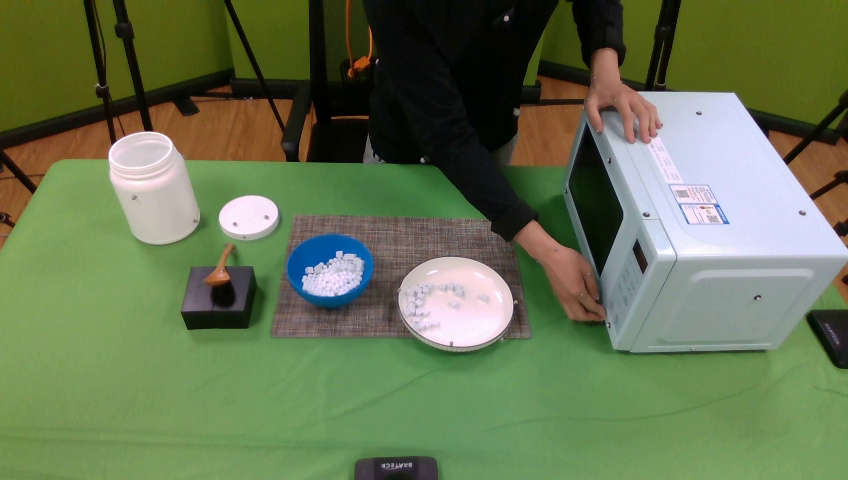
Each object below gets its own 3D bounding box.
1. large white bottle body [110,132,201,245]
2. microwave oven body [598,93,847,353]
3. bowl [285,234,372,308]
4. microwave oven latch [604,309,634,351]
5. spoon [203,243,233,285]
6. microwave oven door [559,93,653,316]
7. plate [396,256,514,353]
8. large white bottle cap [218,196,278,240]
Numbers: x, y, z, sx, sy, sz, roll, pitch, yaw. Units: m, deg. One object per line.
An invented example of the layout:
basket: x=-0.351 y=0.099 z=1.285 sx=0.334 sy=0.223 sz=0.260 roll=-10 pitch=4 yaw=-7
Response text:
large white bottle body: x=-0.505 y=-0.097 z=1.141 sx=0.131 sy=0.185 sz=0.130 roll=2 pitch=46 yaw=-2
microwave oven body: x=0.476 y=-0.041 z=1.110 sx=0.326 sy=0.261 sz=0.438 roll=-1 pitch=45 yaw=-4
bowl: x=-0.167 y=0.068 z=1.077 sx=0.151 sy=0.077 sz=0.150 roll=3 pitch=46 yaw=-2
microwave oven latch: x=0.334 y=0.153 z=1.044 sx=0.030 sy=0.029 sz=0.078 roll=2 pitch=45 yaw=-1
spoon: x=-0.360 y=0.039 z=1.087 sx=0.041 sy=0.022 sz=0.192 roll=-5 pitch=24 yaw=-7
microwave oven door: x=0.327 y=-0.074 z=1.123 sx=0.039 sy=0.245 sz=0.353 roll=-1 pitch=46 yaw=-5
plate: x=0.054 y=0.116 z=1.077 sx=0.209 sy=0.038 sz=0.208 roll=2 pitch=46 yaw=-2
large white bottle cap: x=-0.354 y=-0.045 z=1.220 sx=0.115 sy=0.018 sz=0.114 roll=2 pitch=45 yaw=-2
